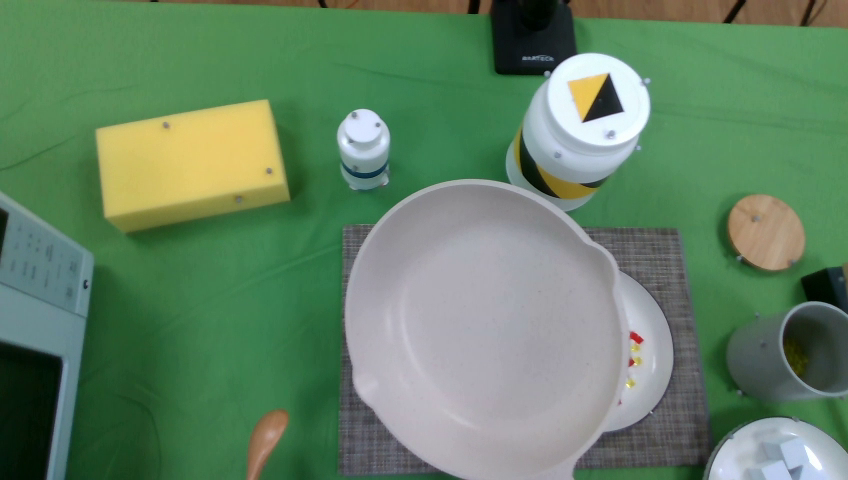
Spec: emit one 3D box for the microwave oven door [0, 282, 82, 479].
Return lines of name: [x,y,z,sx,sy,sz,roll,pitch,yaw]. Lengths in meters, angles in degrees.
microwave oven door: [-0.394,0.218,0.535,0.039,0.245,0.353,0,73,-6]

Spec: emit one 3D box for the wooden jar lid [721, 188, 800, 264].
wooden jar lid: [0.455,-0.018,0.826,0.108,0.021,0.108,1,75,-5]

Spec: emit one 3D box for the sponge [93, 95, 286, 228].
sponge: [-0.286,-0.097,0.752,0.207,0.061,0.117,-13,75,-10]

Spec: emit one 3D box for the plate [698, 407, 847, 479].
plate: [0.421,0.304,0.719,0.208,0.039,0.206,2,73,-5]

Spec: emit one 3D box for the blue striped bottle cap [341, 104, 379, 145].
blue striped bottle cap: [-0.074,-0.134,0.699,0.044,0.021,0.044,1,71,-4]

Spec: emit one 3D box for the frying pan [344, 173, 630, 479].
frying pan: [0.095,0.173,0.573,0.306,0.103,0.485,-30,74,29]

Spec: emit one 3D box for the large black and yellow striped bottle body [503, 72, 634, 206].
large black and yellow striped bottle body: [0.177,-0.131,0.745,0.131,0.185,0.130,2,73,-5]

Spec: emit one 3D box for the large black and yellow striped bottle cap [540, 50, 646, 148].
large black and yellow striped bottle cap: [0.185,-0.155,0.663,0.115,0.019,0.114,2,72,-5]

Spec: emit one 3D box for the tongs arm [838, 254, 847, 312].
tongs arm: [0.560,0.206,0.733,0.051,0.026,0.383,-5,84,-9]

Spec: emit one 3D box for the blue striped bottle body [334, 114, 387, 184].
blue striped bottle body: [-0.078,-0.119,0.748,0.063,0.121,0.062,2,73,-5]

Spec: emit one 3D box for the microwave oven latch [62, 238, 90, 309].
microwave oven latch: [-0.404,0.038,0.693,0.030,0.029,0.078,2,74,-6]

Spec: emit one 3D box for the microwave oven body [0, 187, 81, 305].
microwave oven body: [-0.540,0.178,0.537,0.326,0.261,0.439,1,74,-6]

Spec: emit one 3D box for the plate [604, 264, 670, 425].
plate: [0.195,0.120,0.745,0.209,0.038,0.208,1,74,-4]

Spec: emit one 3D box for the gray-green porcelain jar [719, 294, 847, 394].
gray-green porcelain jar: [0.428,0.129,0.724,0.106,0.127,0.105,2,73,-5]

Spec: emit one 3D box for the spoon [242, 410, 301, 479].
spoon: [-0.186,0.254,0.611,0.022,0.041,0.193,43,81,-8]
